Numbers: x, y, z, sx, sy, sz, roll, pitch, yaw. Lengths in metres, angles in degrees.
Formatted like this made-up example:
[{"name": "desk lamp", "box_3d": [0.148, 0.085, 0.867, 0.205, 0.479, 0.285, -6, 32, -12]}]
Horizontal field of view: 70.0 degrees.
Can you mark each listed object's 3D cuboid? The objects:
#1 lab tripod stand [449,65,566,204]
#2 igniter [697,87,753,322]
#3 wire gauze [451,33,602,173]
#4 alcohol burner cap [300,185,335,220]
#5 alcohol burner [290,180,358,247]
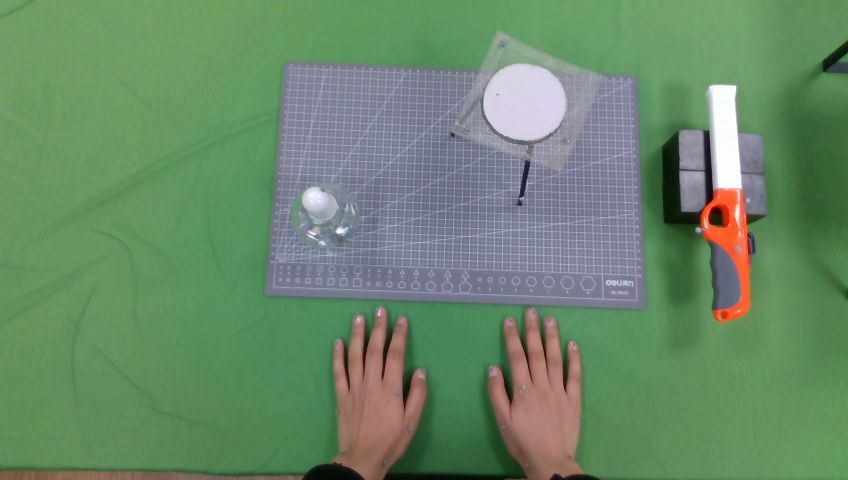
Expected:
[{"name": "lab tripod stand", "box_3d": [0.104, -0.130, 0.690, 0.148, 0.132, 0.147, 0, 76, -1]}, {"name": "igniter", "box_3d": [0.339, -0.044, 0.688, 0.057, 0.025, 0.275, 3, 77, 5]}, {"name": "wire gauze", "box_3d": [0.107, -0.142, 0.624, 0.121, 0.011, 0.124, 25, 77, 4]}, {"name": "alcohol burner cap", "box_3d": [-0.115, -0.042, 0.639, 0.034, 0.048, 0.033, 0, 79, 2]}, {"name": "alcohol burner", "box_3d": [-0.114, -0.033, 0.674, 0.078, 0.119, 0.077, 0, 79, -2]}]
